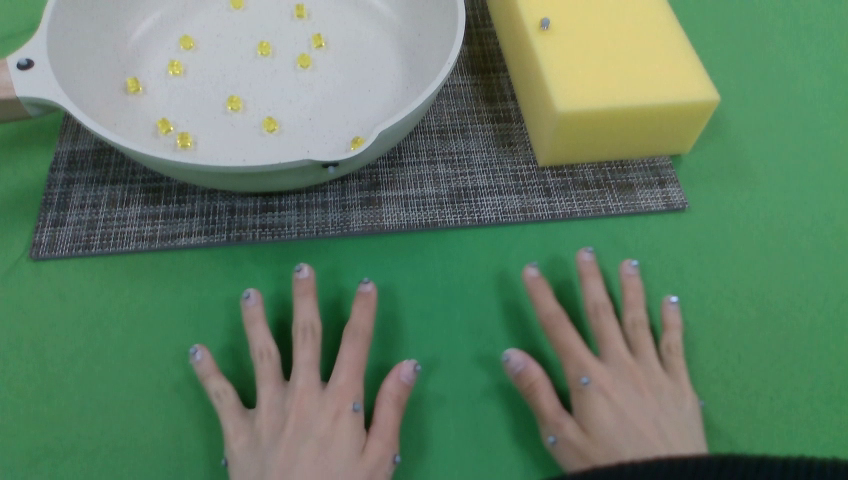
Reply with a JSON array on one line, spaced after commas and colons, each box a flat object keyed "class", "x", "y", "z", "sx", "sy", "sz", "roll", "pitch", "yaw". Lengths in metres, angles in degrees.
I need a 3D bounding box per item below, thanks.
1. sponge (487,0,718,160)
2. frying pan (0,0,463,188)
[{"class": "sponge", "x": 0.127, "y": -0.165, "z": 0.479, "sx": 0.118, "sy": 0.061, "sz": 0.205, "roll": -7, "pitch": 59, "yaw": -7}, {"class": "frying pan", "x": -0.209, "y": -0.122, "z": 0.411, "sx": 0.489, "sy": 0.103, "sz": 0.304, "roll": -19, "pitch": 61, "yaw": -23}]
